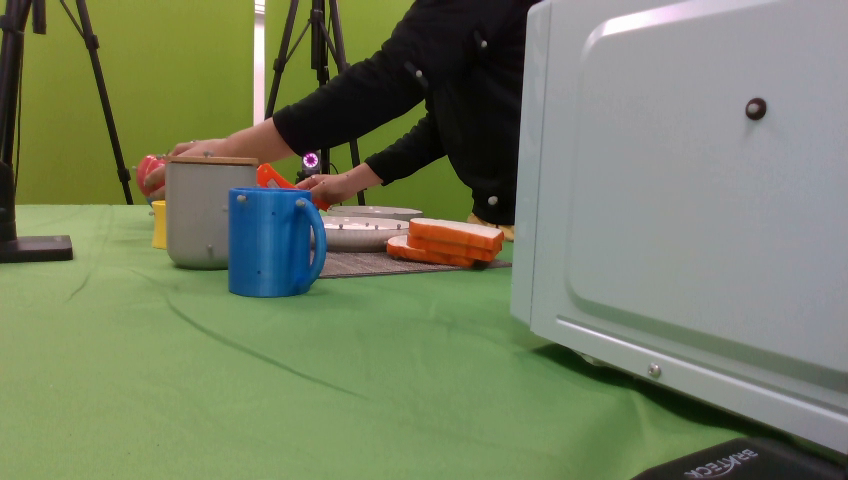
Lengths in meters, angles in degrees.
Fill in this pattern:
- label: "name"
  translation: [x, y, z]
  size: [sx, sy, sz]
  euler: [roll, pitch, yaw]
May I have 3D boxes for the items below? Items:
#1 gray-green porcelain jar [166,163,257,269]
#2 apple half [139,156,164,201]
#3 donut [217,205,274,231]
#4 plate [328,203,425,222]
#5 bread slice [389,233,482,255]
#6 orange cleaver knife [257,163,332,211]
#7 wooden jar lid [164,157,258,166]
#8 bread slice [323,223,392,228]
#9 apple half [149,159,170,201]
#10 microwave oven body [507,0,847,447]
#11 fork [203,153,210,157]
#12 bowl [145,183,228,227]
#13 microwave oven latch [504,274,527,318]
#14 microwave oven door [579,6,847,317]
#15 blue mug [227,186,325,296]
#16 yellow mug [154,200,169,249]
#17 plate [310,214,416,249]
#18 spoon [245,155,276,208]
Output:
- label: "gray-green porcelain jar"
  translation: [-0.263, -0.032, 0.754]
  size: [0.106, 0.126, 0.106]
  euler: [2, 7, 0]
- label: "apple half"
  translation: [-0.449, -0.106, 1.028]
  size: [0.053, 0.074, 0.081]
  euler: [13, 12, 31]
- label: "donut"
  translation: [-0.318, -0.038, 1.080]
  size: [0.099, 0.048, 0.099]
  euler: [3, 7, 0]
- label: "plate"
  translation: [-0.102, -0.053, 1.299]
  size: [0.209, 0.038, 0.209]
  euler: [2, 8, 0]
- label: "bread slice"
  translation: [0.016, 0.005, 0.865]
  size: [0.131, 0.019, 0.105]
  euler: [4, 5, 9]
- label: "orange cleaver knife"
  translation: [-0.290, -0.096, 1.331]
  size: [0.212, 0.077, 0.012]
  euler: [30, -13, -39]
- label: "wooden jar lid"
  translation: [-0.261, -0.093, 0.746]
  size: [0.108, 0.020, 0.108]
  euler: [1, 9, 0]
- label: "bread slice"
  translation: [-0.116, -0.013, 0.975]
  size: [0.135, 0.018, 0.106]
  euler: [-6, 12, -42]
- label: "apple half"
  translation: [-0.416, -0.097, 1.009]
  size: [0.032, 0.081, 0.081]
  euler: [14, 13, 32]
- label: "microwave oven body"
  translation: [0.331, -0.042, 0.425]
  size: [0.444, 0.260, 0.324]
  euler: [-2, 8, -31]
- label: "fork"
  translation: [-0.480, -0.134, 1.411]
  size: [0.028, 0.018, 0.207]
  euler: [1, -35, 0]
- label: "bowl"
  translation: [-0.460, -0.068, 1.175]
  size: [0.151, 0.077, 0.151]
  euler: [3, 7, 0]
- label: "microwave oven latch"
  translation: [0.100, 0.041, 0.472]
  size: [0.079, 0.029, 0.030]
  euler: [-2, 8, -29]
- label: "microwave oven door"
  translation: [0.294, -0.067, 0.570]
  size: [0.358, 0.243, 0.039]
  euler: [-3, 9, -31]
- label: "blue mug"
  translation: [-0.146, 0.000, 0.618]
  size: [0.116, 0.106, 0.083]
  euler: [7, 9, 32]
- label: "yellow mug"
  translation: [-0.337, -0.023, 0.899]
  size: [0.130, 0.064, 0.100]
  euler: [8, 10, 35]
- label: "plate"
  translation: [-0.117, -0.014, 0.967]
  size: [0.208, 0.039, 0.207]
  euler: [2, 7, 0]
- label: "spoon"
  translation: [-0.421, -0.150, 1.540]
  size: [0.042, 0.021, 0.193]
  euler: [-4, 54, -38]
